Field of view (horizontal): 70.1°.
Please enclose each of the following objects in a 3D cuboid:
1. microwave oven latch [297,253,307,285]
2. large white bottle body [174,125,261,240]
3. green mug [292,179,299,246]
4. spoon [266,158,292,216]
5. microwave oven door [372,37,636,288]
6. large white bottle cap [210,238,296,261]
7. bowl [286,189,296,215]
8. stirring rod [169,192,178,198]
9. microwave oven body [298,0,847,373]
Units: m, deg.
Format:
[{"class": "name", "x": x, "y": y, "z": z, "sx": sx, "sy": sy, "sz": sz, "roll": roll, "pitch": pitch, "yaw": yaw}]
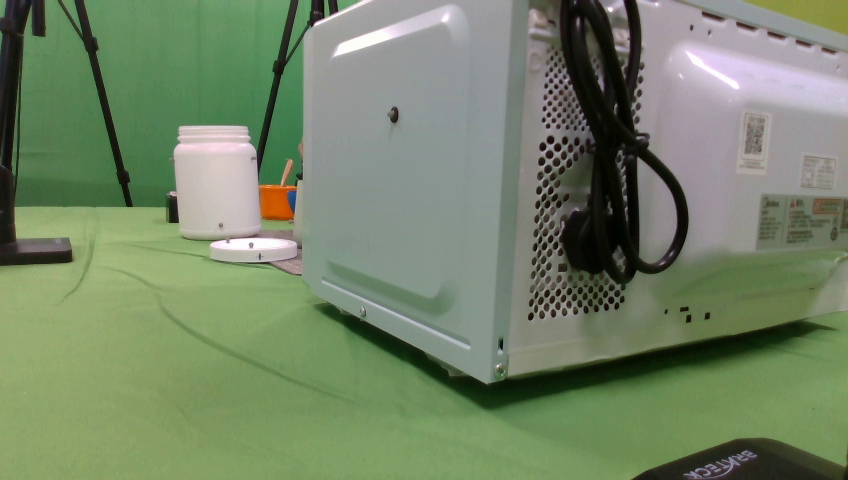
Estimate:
[{"class": "microwave oven latch", "x": -0.082, "y": 0.027, "z": 0.583, "sx": 0.079, "sy": 0.029, "sz": 0.030, "roll": -2, "pitch": 8, "yaw": -33}, {"class": "large white bottle body", "x": -0.349, "y": -0.100, "z": 1.025, "sx": 0.131, "sy": 0.184, "sz": 0.130, "roll": -1, "pitch": 9, "yaw": 0}, {"class": "green mug", "x": -0.142, "y": -0.041, "z": 0.942, "sx": 0.126, "sy": 0.105, "sz": 0.092, "roll": -2, "pitch": 8, "yaw": -32}, {"class": "spoon", "x": -0.334, "y": -0.127, "z": 1.424, "sx": 0.041, "sy": 0.193, "sz": 0.022, "roll": 0, "pitch": -37, "yaw": 7}, {"class": "microwave oven door", "x": 0.109, "y": -0.080, "z": 0.687, "sx": 0.358, "sy": 0.243, "sz": 0.039, "roll": -2, "pitch": 9, "yaw": -33}, {"class": "large white bottle cap", "x": -0.236, "y": 0.012, "z": 0.839, "sx": 0.115, "sy": 0.018, "sz": 0.115, "roll": 1, "pitch": 8, "yaw": 0}, {"class": "bowl", "x": -0.179, "y": -0.051, "z": 1.115, "sx": 0.151, "sy": 0.077, "sz": 0.151, "roll": 2, "pitch": 8, "yaw": 0}, {"class": "stirring rod", "x": -0.465, "y": -0.098, "z": 1.283, "sx": 0.014, "sy": 0.006, "sz": 0.177, "roll": 42, "pitch": 22, "yaw": 17}, {"class": "microwave oven body", "x": 0.151, "y": -0.055, "z": 0.543, "sx": 0.444, "sy": 0.260, "sz": 0.324, "roll": -1, "pitch": 7, "yaw": -33}]
